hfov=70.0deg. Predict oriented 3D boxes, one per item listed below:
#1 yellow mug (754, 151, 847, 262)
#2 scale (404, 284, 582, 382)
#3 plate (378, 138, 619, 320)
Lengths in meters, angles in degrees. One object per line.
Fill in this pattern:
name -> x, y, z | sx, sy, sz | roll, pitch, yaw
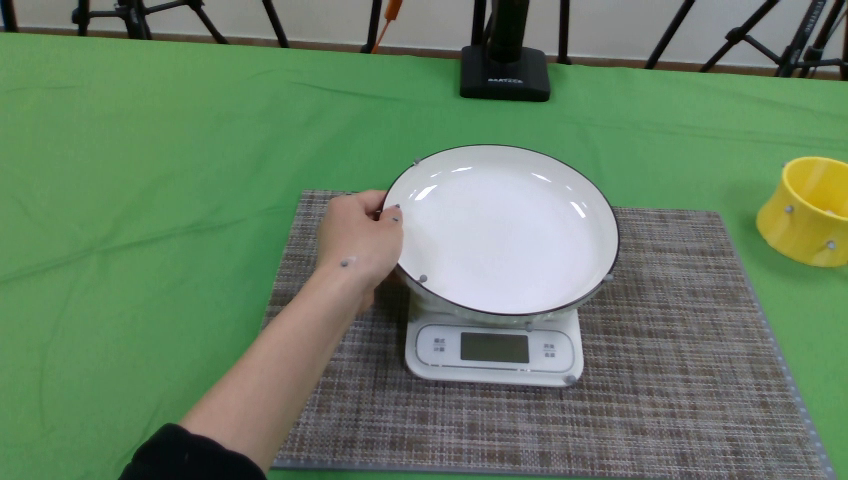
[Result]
yellow mug -> 0.413, -0.027, 0.612 | 0.100, 0.064, 0.129 | -32, 56, -28
scale -> 0.062, 0.034, 0.553 | 0.149, 0.032, 0.199 | 4, 46, 0
plate -> 0.063, -0.012, 0.536 | 0.209, 0.038, 0.207 | 1, 48, -1
